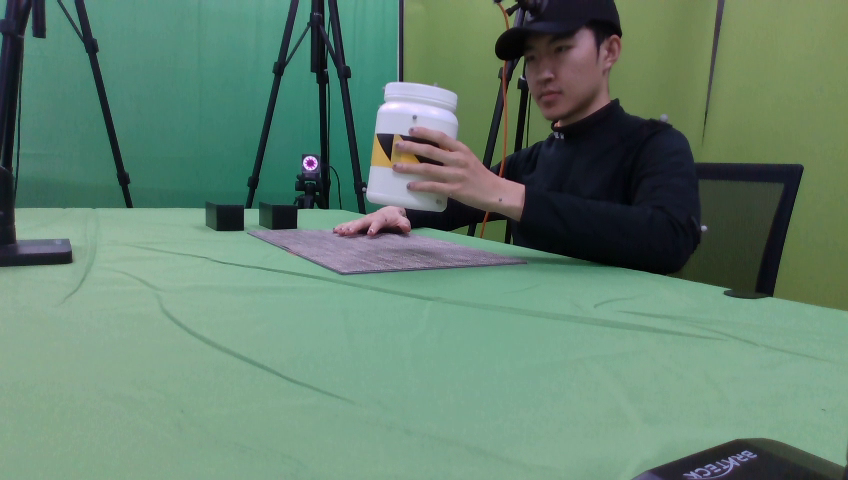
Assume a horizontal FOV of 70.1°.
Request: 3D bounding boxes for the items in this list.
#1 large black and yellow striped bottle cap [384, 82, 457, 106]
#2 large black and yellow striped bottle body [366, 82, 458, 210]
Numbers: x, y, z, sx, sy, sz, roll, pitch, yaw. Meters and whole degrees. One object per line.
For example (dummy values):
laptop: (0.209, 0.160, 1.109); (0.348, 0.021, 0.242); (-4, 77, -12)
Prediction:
large black and yellow striped bottle cap: (-0.005, -0.226, 0.947); (0.115, 0.019, 0.115); (7, 4, 0)
large black and yellow striped bottle body: (-0.017, -0.145, 0.955); (0.131, 0.184, 0.130); (8, 5, 0)
